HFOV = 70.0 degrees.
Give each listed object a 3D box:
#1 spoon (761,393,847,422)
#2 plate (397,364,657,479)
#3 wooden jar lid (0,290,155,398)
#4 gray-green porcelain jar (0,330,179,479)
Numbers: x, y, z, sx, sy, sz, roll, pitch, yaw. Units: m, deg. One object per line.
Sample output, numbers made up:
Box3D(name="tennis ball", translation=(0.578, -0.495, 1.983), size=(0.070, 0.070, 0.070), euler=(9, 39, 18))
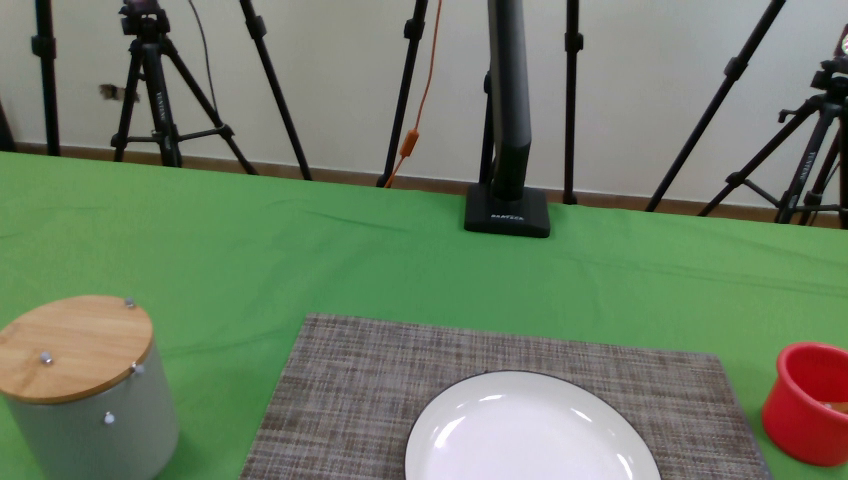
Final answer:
Box3D(name="spoon", translation=(0.389, 0.138, 0.516), size=(0.041, 0.021, 0.193), euler=(-32, 4, -39))
Box3D(name="plate", translation=(0.081, 0.191, 0.498), size=(0.208, 0.039, 0.205), euler=(3, 35, -2))
Box3D(name="wooden jar lid", translation=(-0.255, 0.077, 0.442), size=(0.108, 0.021, 0.107), euler=(6, 33, -4))
Box3D(name="gray-green porcelain jar", translation=(-0.257, 0.129, 0.480), size=(0.106, 0.127, 0.105), euler=(3, 35, -2))
